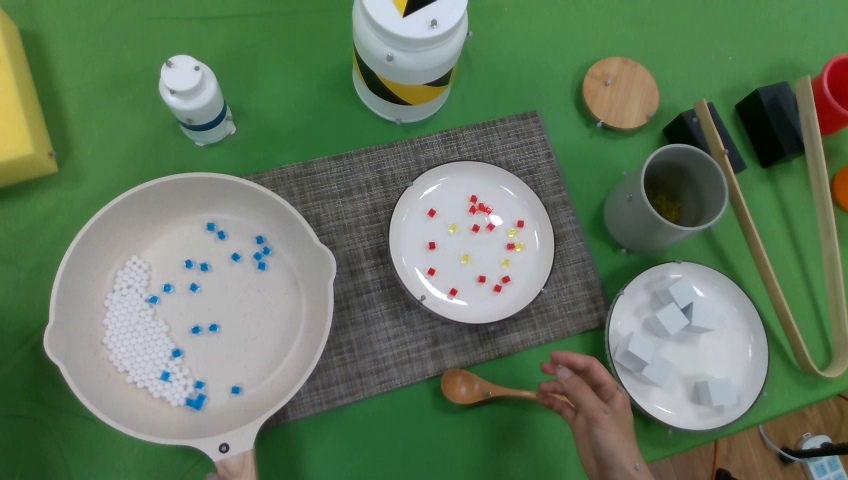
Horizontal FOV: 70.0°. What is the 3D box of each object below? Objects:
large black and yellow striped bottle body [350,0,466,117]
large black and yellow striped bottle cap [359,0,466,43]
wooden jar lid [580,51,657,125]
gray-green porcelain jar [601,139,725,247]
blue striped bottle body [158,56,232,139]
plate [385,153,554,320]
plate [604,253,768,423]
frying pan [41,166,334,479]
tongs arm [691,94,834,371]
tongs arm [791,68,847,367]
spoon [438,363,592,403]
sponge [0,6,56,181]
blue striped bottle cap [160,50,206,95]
[{"bbox_3d":[-0.022,-0.243,0.722,0.131,0.184,0.130,2,76,-6],"label":"large black and yellow striped bottle body"},{"bbox_3d":[-0.012,-0.263,0.639,0.115,0.019,0.114,2,76,-6],"label":"large black and yellow striped bottle cap"},{"bbox_3d":[0.265,-0.207,0.835,0.108,0.021,0.108,2,78,-7],"label":"wooden jar lid"},{"bbox_3d":[0.285,-0.052,0.746,0.106,0.127,0.105,2,76,-7],"label":"gray-green porcelain jar"},{"bbox_3d":[-0.267,-0.170,0.705,0.063,0.121,0.063,2,76,-7],"label":"blue striped bottle body"},{"bbox_3d":[0.055,-0.004,0.747,0.209,0.038,0.208,2,77,-6],"label":"plate"},{"bbox_3d":[0.321,0.121,0.756,0.208,0.039,0.206,2,77,-7],"label":"plate"},{"bbox_3d":[-0.217,0.158,0.640,0.307,0.103,0.484,-16,71,-8],"label":"frying pan"},{"bbox_3d":[0.430,-0.010,0.772,0.051,0.026,0.384,-20,90,-13],"label":"tongs arm"},{"bbox_3d":[0.511,-0.031,0.788,0.028,0.027,0.387,-5,88,-16],"label":"tongs arm"},{"bbox_3d":[0.110,0.177,0.723,0.194,0.022,0.041,9,59,-5],"label":"spoon"},{"bbox_3d":[-0.527,-0.171,0.701,0.118,0.061,0.206,-20,81,-12],"label":"sponge"},{"bbox_3d":[-0.261,-0.182,0.655,0.044,0.021,0.044,1,74,-4],"label":"blue striped bottle cap"}]
